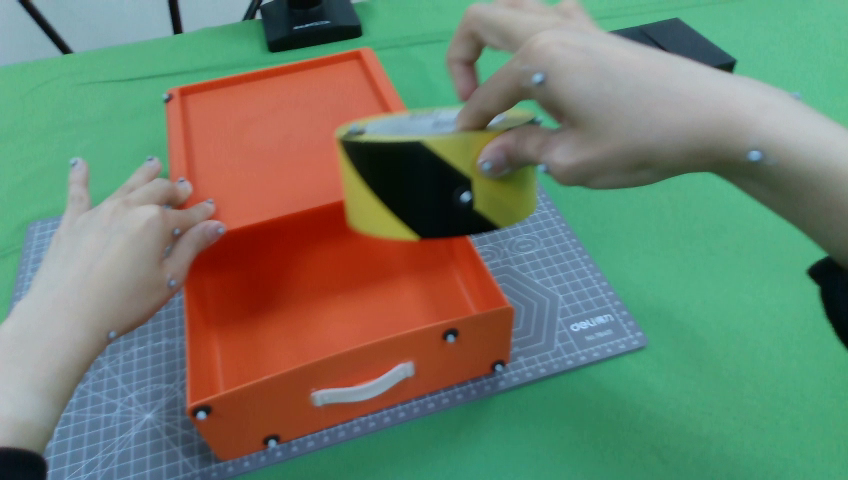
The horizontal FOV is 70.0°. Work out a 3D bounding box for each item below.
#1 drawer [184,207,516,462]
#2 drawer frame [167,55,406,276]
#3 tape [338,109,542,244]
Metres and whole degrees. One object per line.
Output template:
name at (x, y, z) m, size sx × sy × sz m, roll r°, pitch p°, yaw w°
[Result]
drawer at (-0.065, 0.026, 0.437) m, size 0.195 × 0.074 × 0.209 m, roll -16°, pitch 46°, yaw -10°
drawer frame at (-0.107, -0.060, 0.522) m, size 0.202 × 0.083 × 0.211 m, roll -17°, pitch 45°, yaw -11°
tape at (0.009, -0.040, 0.342) m, size 0.117 × 0.053 × 0.116 m, roll -4°, pitch 19°, yaw 2°
